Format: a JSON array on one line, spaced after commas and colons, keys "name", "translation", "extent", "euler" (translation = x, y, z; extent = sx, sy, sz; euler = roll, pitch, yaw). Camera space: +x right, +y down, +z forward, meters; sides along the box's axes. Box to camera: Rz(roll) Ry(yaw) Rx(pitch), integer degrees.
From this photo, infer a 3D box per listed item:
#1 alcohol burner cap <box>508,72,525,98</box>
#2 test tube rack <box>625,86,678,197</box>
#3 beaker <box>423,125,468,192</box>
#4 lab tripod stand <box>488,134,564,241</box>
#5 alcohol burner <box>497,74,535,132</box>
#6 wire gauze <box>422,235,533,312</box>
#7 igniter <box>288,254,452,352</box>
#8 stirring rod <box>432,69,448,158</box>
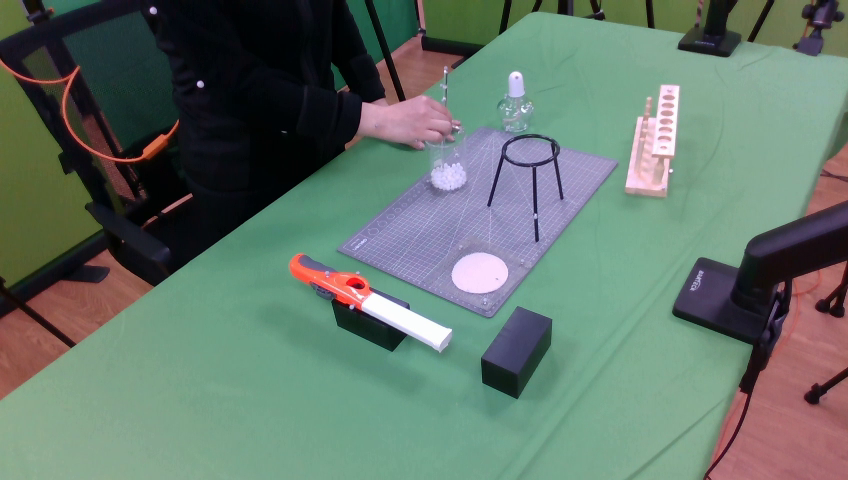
[{"name": "alcohol burner cap", "translation": [0.181, -0.306, 1.186], "extent": [0.034, 0.048, 0.033], "euler": [-7, 39, 6]}, {"name": "test tube rack", "translation": [0.412, -0.184, 1.088], "extent": [0.066, 0.085, 0.242], "euler": [9, 43, 18]}, {"name": "beaker", "translation": [0.042, -0.144, 1.078], "extent": [0.073, 0.100, 0.084], "euler": [28, 51, 34]}, {"name": "lab tripod stand", "translation": [0.168, -0.092, 0.972], "extent": [0.148, 0.132, 0.147], "euler": [-5, 41, 5]}, {"name": "alcohol burner", "translation": [0.184, -0.278, 1.210], "extent": [0.078, 0.119, 0.077], "euler": [-3, 42, 3]}, {"name": "wire gauze", "translation": [0.081, 0.049, 0.914], "extent": [0.120, 0.011, 0.125], "euler": [26, 52, 32]}, {"name": "igniter", "translation": [-0.083, 0.079, 0.818], "extent": [0.274, 0.025, 0.057], "euler": [23, 46, 27]}, {"name": "stirring rod", "translation": [0.026, -0.205, 1.001], "extent": [0.006, 0.176, 0.014], "euler": [21, 50, 11]}]
